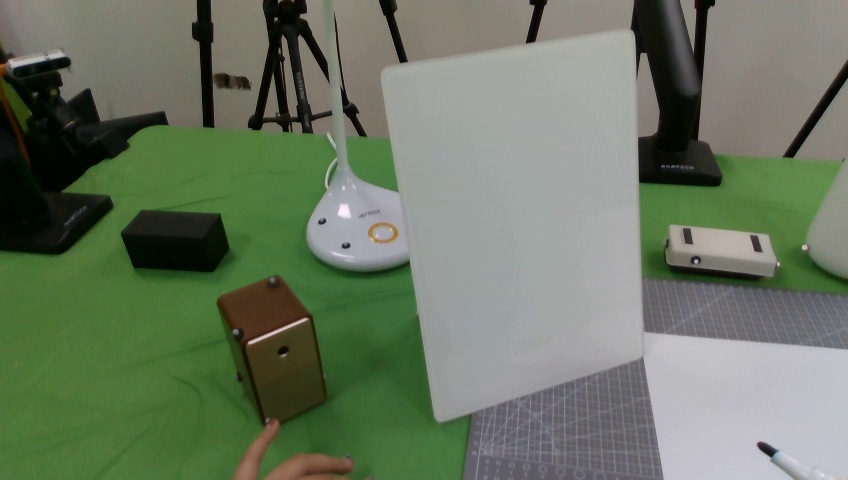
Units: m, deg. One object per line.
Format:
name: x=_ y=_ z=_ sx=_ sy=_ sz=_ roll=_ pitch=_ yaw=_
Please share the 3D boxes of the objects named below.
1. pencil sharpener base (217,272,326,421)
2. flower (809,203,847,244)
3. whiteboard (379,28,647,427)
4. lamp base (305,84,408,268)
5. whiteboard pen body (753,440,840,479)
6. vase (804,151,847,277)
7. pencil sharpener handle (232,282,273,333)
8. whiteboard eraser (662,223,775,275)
pencil sharpener base: x=-0.135 y=0.094 z=0.541 sx=0.061 sy=0.108 sz=0.076 roll=-23 pitch=40 yaw=-25
flower: x=0.491 y=-0.112 z=0.580 sx=0.044 sy=0.364 sz=0.038 roll=-9 pitch=53 yaw=-20
whiteboard: x=0.071 y=-0.022 z=0.571 sx=0.218 sy=0.307 sz=0.142 roll=-13 pitch=18 yaw=-14
lamp base: x=-0.079 y=-0.084 z=0.724 sx=0.161 sy=0.182 sz=0.177 roll=-26 pitch=40 yaw=-29
whiteboard pen body: x=0.197 y=0.126 z=0.238 sx=0.139 sy=0.017 sz=0.017 roll=36 pitch=49 yaw=28
vase: x=0.486 y=-0.055 z=0.642 sx=0.098 sy=0.202 sz=0.097 roll=0 pitch=36 yaw=1
pencil sharpener handle: x=-0.162 y=0.059 z=0.569 sx=0.036 sy=0.068 sz=0.030 roll=-30 pitch=43 yaw=-20
whiteboard eraser: x=0.333 y=0.012 z=0.691 sx=0.112 sy=0.042 sz=0.055 roll=5 pitch=34 yaw=11
